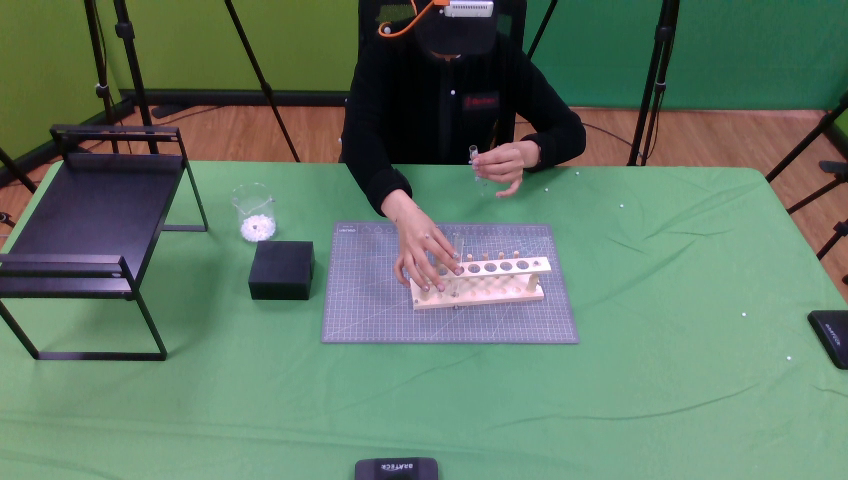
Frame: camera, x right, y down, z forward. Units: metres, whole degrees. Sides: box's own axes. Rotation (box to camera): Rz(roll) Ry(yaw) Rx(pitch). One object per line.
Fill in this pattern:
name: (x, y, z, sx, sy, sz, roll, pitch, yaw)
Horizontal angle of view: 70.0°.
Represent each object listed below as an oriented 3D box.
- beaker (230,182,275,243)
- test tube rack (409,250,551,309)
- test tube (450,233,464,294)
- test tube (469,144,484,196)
beaker: (-0.328, -0.049, 1.166, 0.074, 0.101, 0.083, 2, 47, -2)
test tube rack: (0.098, 0.065, 1.095, 0.243, 0.085, 0.066, -4, 47, -8)
test tube: (0.056, 0.044, 1.043, 0.017, 0.151, 0.017, 1, 47, -1)
test tube: (0.105, -0.136, 1.204, 0.017, 0.151, 0.017, -5, 56, 8)
